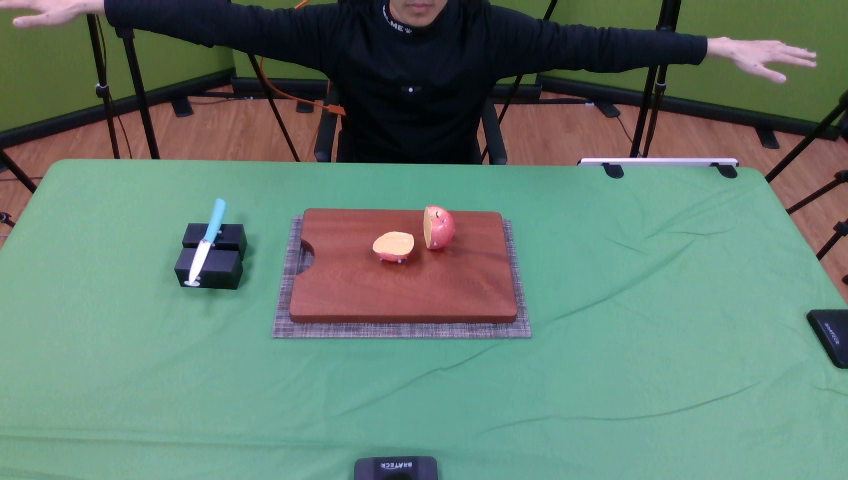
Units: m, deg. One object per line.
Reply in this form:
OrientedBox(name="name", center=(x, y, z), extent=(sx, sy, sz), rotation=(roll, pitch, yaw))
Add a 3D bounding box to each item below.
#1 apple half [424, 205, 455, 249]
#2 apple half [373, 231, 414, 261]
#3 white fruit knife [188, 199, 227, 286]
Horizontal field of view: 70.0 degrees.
OrientedBox(name="apple half", center=(0.030, -0.023, 1.144), extent=(0.053, 0.075, 0.080), rotation=(-2, 42, -11))
OrientedBox(name="apple half", center=(-0.053, 0.017, 1.127), extent=(0.081, 0.033, 0.081), rotation=(-3, 33, 2))
OrientedBox(name="white fruit knife", center=(-0.393, 0.001, 1.104), extent=(0.027, 0.016, 0.206), rotation=(-3, 50, 9))
